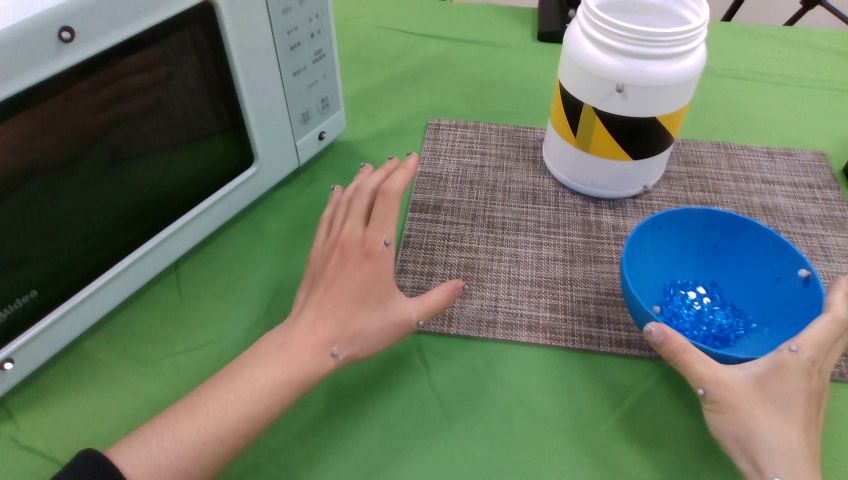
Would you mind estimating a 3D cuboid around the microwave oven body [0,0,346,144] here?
[{"bbox_3d":[-0.337,-0.141,0.534,0.324,0.262,0.440,28,54,22],"label":"microwave oven body"}]

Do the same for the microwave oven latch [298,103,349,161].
[{"bbox_3d":[-0.114,-0.119,0.649,0.030,0.030,0.079,30,55,23],"label":"microwave oven latch"}]

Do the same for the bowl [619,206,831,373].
[{"bbox_3d":[0.227,0.051,0.490,0.151,0.077,0.150,0,48,0],"label":"bowl"}]

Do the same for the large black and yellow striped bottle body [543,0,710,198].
[{"bbox_3d":[0.195,-0.148,0.598,0.131,0.185,0.129,0,48,0],"label":"large black and yellow striped bottle body"}]

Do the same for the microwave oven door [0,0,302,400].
[{"bbox_3d":[-0.243,-0.058,0.452,0.039,0.246,0.355,28,53,23],"label":"microwave oven door"}]
